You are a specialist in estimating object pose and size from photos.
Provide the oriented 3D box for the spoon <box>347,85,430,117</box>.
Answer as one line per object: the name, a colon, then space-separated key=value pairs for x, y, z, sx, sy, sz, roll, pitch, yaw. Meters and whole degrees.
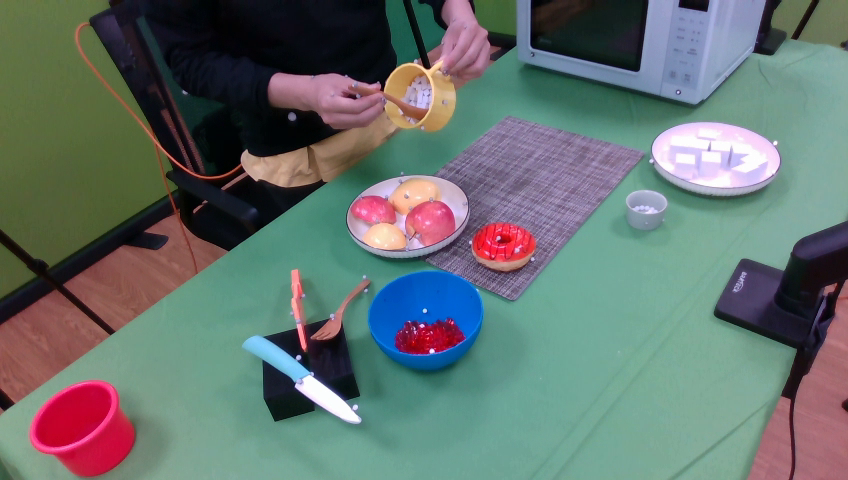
spoon: x=-0.051 y=-0.211 z=0.915 sx=0.041 sy=0.021 sz=0.195 roll=-4 pitch=-6 yaw=35

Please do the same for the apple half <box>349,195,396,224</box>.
apple half: x=-0.081 y=-0.056 z=1.008 sx=0.081 sy=0.033 sz=0.081 roll=11 pitch=25 yaw=-5

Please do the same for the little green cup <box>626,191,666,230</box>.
little green cup: x=0.352 y=-0.046 z=0.963 sx=0.061 sy=0.039 sz=0.061 roll=-4 pitch=40 yaw=4

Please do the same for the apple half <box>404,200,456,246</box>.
apple half: x=0.009 y=-0.035 z=0.969 sx=0.075 sy=0.053 sz=0.080 roll=-27 pitch=40 yaw=-22

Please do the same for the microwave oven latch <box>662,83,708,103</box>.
microwave oven latch: x=0.517 y=-0.296 z=1.204 sx=0.078 sy=0.029 sz=0.030 roll=28 pitch=52 yaw=35

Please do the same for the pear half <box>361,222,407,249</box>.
pear half: x=-0.063 y=-0.012 z=0.958 sx=0.071 sy=0.031 sz=0.087 roll=2 pitch=25 yaw=-25

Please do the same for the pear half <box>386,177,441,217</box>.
pear half: x=-0.030 y=-0.079 z=1.033 sx=0.109 sy=0.056 sz=0.076 roll=-2 pitch=35 yaw=15

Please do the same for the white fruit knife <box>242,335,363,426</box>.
white fruit knife: x=-0.148 y=0.167 z=0.730 sx=0.206 sy=0.016 sz=0.027 roll=26 pitch=80 yaw=31

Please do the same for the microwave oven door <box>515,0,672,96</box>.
microwave oven door: x=0.343 y=-0.455 z=1.259 sx=0.353 sy=0.245 sz=0.039 roll=26 pitch=51 yaw=33

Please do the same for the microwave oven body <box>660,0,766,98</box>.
microwave oven body: x=0.472 y=-0.513 z=1.317 sx=0.438 sy=0.261 sz=0.327 roll=26 pitch=51 yaw=34

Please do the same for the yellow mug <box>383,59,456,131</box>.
yellow mug: x=0.001 y=-0.237 z=0.964 sx=0.099 sy=0.130 sz=0.064 roll=54 pitch=29 yaw=17

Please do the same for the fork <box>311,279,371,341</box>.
fork: x=-0.108 y=0.092 z=0.832 sx=0.028 sy=0.019 sz=0.207 roll=-6 pitch=19 yaw=15

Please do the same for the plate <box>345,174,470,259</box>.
plate: x=-0.026 y=-0.036 z=1.004 sx=0.209 sy=0.038 sz=0.208 roll=-4 pitch=40 yaw=4

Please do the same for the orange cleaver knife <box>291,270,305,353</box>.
orange cleaver knife: x=-0.175 y=0.094 z=0.844 sx=0.012 sy=0.077 sz=0.210 roll=-11 pitch=14 yaw=-10

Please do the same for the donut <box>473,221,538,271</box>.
donut: x=0.123 y=0.008 z=0.923 sx=0.099 sy=0.048 sz=0.098 roll=-3 pitch=38 yaw=3

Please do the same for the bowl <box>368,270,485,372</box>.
bowl: x=0.007 y=0.118 z=0.791 sx=0.151 sy=0.077 sz=0.150 roll=-5 pitch=40 yaw=4

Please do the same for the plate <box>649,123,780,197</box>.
plate: x=0.497 y=-0.134 z=1.046 sx=0.207 sy=0.039 sz=0.206 roll=-4 pitch=40 yaw=4
